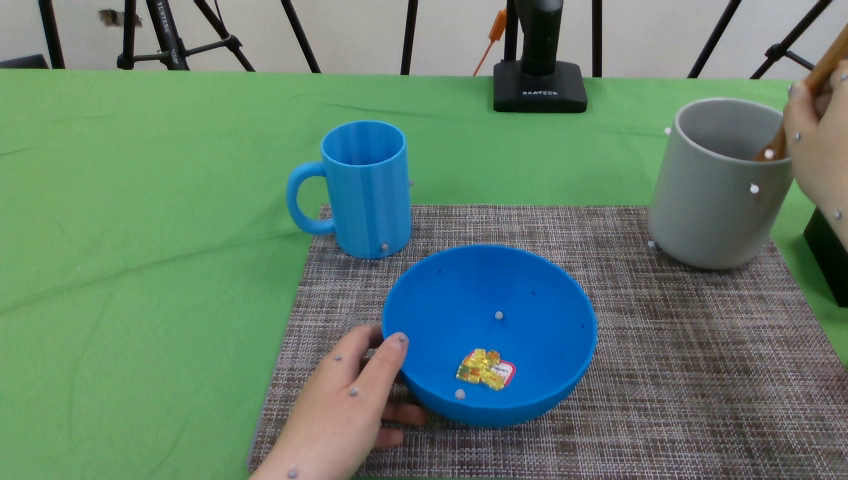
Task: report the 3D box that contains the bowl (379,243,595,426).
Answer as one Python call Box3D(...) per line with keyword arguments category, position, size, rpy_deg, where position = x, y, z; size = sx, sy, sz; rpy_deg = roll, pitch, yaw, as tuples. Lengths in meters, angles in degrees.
Box3D(category="bowl", position=(0.044, 0.081, 0.447), size=(0.151, 0.077, 0.150), rpy_deg=(0, 42, 1))

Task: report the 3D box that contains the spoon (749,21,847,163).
Box3D(category="spoon", position=(0.283, -0.092, 0.465), size=(0.021, 0.195, 0.041), rpy_deg=(2, 60, 9))

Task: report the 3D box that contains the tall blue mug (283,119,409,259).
Box3D(category="tall blue mug", position=(-0.066, -0.040, 0.560), size=(0.107, 0.109, 0.077), rpy_deg=(-31, 51, -29))

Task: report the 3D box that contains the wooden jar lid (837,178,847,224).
Box3D(category="wooden jar lid", position=(0.417, -0.021, 0.526), size=(0.108, 0.021, 0.107), rpy_deg=(-1, 42, 1))

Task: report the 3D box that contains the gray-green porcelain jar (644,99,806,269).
Box3D(category="gray-green porcelain jar", position=(0.261, -0.045, 0.545), size=(0.106, 0.127, 0.105), rpy_deg=(-1, 42, 1))
